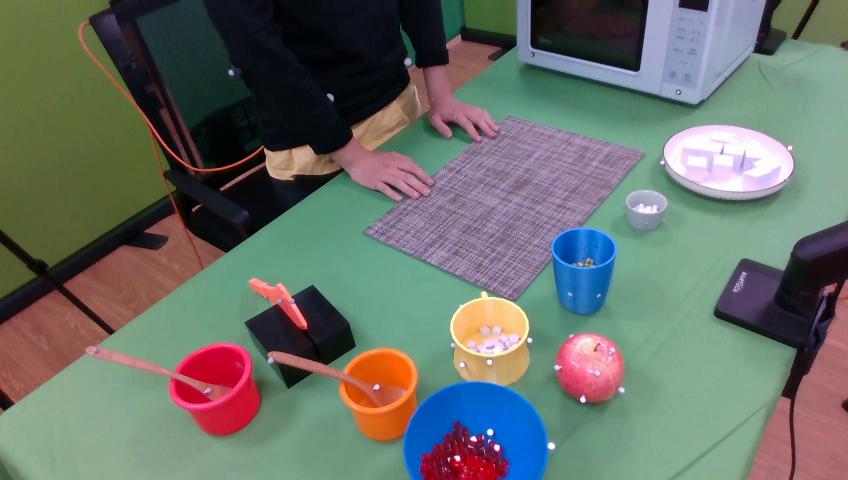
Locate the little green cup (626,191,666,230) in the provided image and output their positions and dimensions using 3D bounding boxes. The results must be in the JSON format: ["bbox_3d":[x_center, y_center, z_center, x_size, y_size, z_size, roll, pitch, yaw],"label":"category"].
[{"bbox_3d":[0.352,-0.046,0.963,0.061,0.039,0.061,-4,40,4],"label":"little green cup"}]

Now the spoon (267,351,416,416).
[{"bbox_3d":[-0.091,0.162,0.699,0.021,0.195,0.041,-44,31,27],"label":"spoon"}]

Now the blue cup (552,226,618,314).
[{"bbox_3d":[0.218,0.047,0.826,0.092,0.101,0.092,-6,40,5],"label":"blue cup"}]

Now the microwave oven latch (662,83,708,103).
[{"bbox_3d":[0.517,-0.296,1.204,0.078,0.029,0.030,28,52,35],"label":"microwave oven latch"}]

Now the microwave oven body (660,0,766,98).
[{"bbox_3d":[0.472,-0.513,1.317,0.438,0.261,0.327,26,51,34],"label":"microwave oven body"}]

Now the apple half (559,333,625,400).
[{"bbox_3d":[0.209,0.147,0.730,0.080,0.075,0.053,26,47,38],"label":"apple half"}]

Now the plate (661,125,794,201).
[{"bbox_3d":[0.513,-0.128,1.035,0.207,0.039,0.206,-4,40,4],"label":"plate"}]

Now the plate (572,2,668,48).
[{"bbox_3d":[0.441,-0.483,1.366,0.209,0.038,0.208,-4,41,4],"label":"plate"}]

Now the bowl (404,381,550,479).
[{"bbox_3d":[0.058,0.235,0.645,0.151,0.077,0.150,-4,39,4],"label":"bowl"}]

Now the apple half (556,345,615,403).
[{"bbox_3d":[0.181,0.167,0.709,0.080,0.081,0.033,29,50,35],"label":"apple half"}]

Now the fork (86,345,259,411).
[{"bbox_3d":[-0.298,0.166,0.728,0.209,0.018,0.028,28,46,-23],"label":"fork"}]

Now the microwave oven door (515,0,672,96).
[{"bbox_3d":[0.344,-0.455,1.259,0.353,0.245,0.039,26,51,33],"label":"microwave oven door"}]

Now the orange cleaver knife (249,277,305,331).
[{"bbox_3d":[-0.210,0.088,0.855,0.012,0.077,0.210,-28,15,-25],"label":"orange cleaver knife"}]

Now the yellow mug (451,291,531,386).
[{"bbox_3d":[0.085,0.120,0.786,0.100,0.064,0.130,-7,39,1],"label":"yellow mug"}]
